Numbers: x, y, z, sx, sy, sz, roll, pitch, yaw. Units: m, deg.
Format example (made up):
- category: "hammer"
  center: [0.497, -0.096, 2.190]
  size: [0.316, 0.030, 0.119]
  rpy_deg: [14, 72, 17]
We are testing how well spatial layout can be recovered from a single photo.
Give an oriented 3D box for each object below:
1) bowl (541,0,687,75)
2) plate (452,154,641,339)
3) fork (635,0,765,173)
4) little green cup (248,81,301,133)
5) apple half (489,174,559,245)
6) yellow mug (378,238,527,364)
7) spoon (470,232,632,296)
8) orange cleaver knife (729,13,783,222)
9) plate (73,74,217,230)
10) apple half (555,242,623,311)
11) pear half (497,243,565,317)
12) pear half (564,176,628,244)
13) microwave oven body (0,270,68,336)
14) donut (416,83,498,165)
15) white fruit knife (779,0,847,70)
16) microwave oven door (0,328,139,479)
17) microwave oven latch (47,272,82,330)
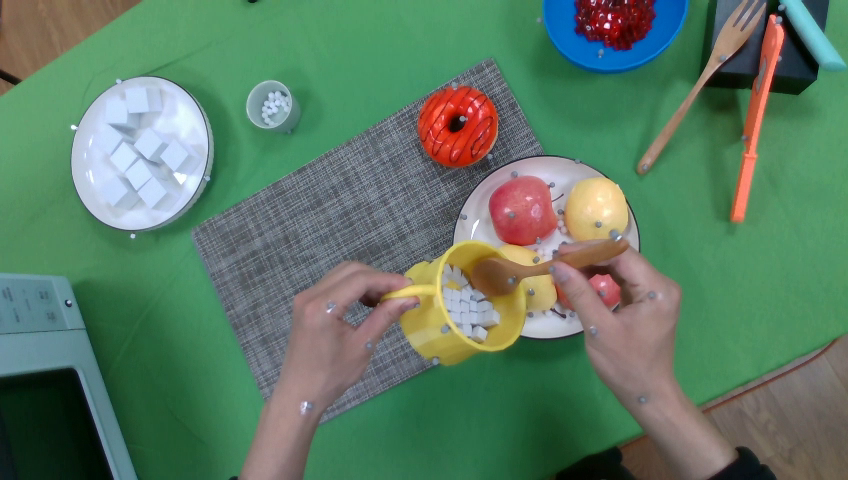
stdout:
- category: "bowl"
  center: [0.207, -0.249, 0.677]
  size: [0.151, 0.077, 0.151]
  rpy_deg: [-1, 86, 12]
- category: "plate"
  center: [0.136, 0.007, 0.689]
  size: [0.209, 0.038, 0.208]
  rpy_deg: [-1, 86, 12]
- category: "fork"
  center: [0.288, -0.160, 0.648]
  size: [0.028, 0.018, 0.208]
  rpy_deg: [30, 113, 5]
- category: "little green cup"
  center: [-0.189, -0.167, 0.775]
  size: [0.061, 0.039, 0.061]
  rpy_deg: [-1, 85, 13]
- category: "apple half"
  center: [0.110, -0.035, 0.680]
  size: [0.074, 0.053, 0.080]
  rpy_deg: [-11, 87, 12]
- category: "yellow mug"
  center: [0.021, 0.054, 0.530]
  size: [0.064, 0.132, 0.099]
  rpy_deg: [-30, 59, 50]
- category: "spoon"
  center: [0.093, 0.021, 0.482]
  size: [0.021, 0.193, 0.042]
  rpy_deg: [-41, 98, -25]
- category: "orange cleaver knife"
  center: [0.346, -0.125, 0.636]
  size: [0.012, 0.077, 0.212]
  rpy_deg: [8, 113, 17]
- category: "plate"
  center: [-0.367, -0.115, 0.809]
  size: [0.207, 0.039, 0.207]
  rpy_deg: [-1, 86, 12]
- category: "apple half"
  center: [0.173, 0.041, 0.661]
  size: [0.081, 0.033, 0.081]
  rpy_deg: [2, 95, 34]
- category: "pear half"
  center: [0.115, 0.052, 0.677]
  size: [0.109, 0.056, 0.076]
  rpy_deg: [34, 98, 6]
- category: "pear half"
  center: [0.185, -0.026, 0.667]
  size: [0.070, 0.031, 0.088]
  rpy_deg: [3, 97, 35]
- category: "microwave oven body"
  center: [-0.562, 0.296, 0.702]
  size: [0.326, 0.261, 0.440]
  rpy_deg: [-25, 81, 8]
- category: "donut"
  center: [0.039, -0.137, 0.717]
  size: [0.099, 0.048, 0.099]
  rpy_deg: [-1, 87, 14]
- category: "white fruit knife"
  center: [0.371, -0.262, 0.625]
  size: [0.027, 0.016, 0.206]
  rpy_deg: [-21, 78, -20]
- category: "microwave oven door"
  center: [-0.417, 0.272, 0.667]
  size: [0.039, 0.245, 0.354]
  rpy_deg: [-26, 80, 9]
- category: "microwave oven latch"
  center: [-0.481, 0.082, 0.799]
  size: [0.030, 0.029, 0.079]
  rpy_deg: [-23, 82, 9]
